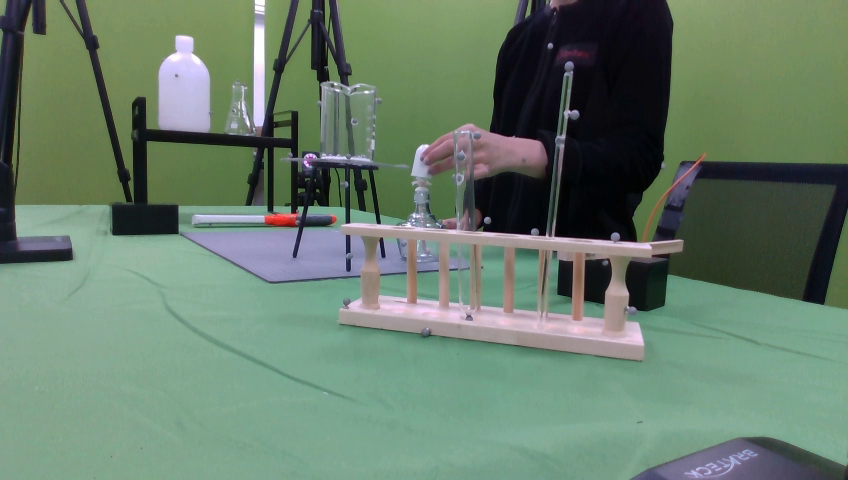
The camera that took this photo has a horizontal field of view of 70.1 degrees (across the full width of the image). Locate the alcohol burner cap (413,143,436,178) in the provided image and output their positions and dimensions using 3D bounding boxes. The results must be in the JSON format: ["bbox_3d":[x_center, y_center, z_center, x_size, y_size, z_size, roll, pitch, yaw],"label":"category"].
[{"bbox_3d":[0.002,-0.109,0.829,0.034,0.048,0.034,4,12,-1],"label":"alcohol burner cap"}]

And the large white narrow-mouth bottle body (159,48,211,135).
[{"bbox_3d":[-0.503,-0.323,1.275,0.102,0.194,0.102,2,7,0],"label":"large white narrow-mouth bottle body"}]

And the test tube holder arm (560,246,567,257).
[{"bbox_3d":[0.173,0.007,0.612,0.088,0.015,0.010,-3,9,-30],"label":"test tube holder arm"}]

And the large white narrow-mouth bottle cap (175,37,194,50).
[{"bbox_3d":[-0.501,-0.410,1.264,0.038,0.024,0.037,2,7,0],"label":"large white narrow-mouth bottle cap"}]

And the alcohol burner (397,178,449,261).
[{"bbox_3d":[-0.002,-0.031,0.846,0.078,0.119,0.078,0,6,0],"label":"alcohol burner"}]

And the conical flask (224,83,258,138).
[{"bbox_3d":[-0.422,-0.299,1.395,0.075,0.122,0.075,2,7,0],"label":"conical flask"}]

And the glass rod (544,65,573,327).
[{"bbox_3d":[0.101,-0.028,0.453,0.008,0.199,0.008,2,13,0],"label":"glass rod"}]

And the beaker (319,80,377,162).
[{"bbox_3d":[-0.098,-0.150,0.777,0.074,0.100,0.084,1,7,-8],"label":"beaker"}]

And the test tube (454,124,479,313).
[{"bbox_3d":[0.034,-0.015,0.477,0.017,0.150,0.017,-2,9,1],"label":"test tube"}]

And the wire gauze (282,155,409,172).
[{"bbox_3d":[-0.104,-0.103,0.785,0.126,0.011,0.121,1,8,-39],"label":"wire gauze"}]

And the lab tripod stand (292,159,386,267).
[{"bbox_3d":[-0.105,-0.039,0.797,0.148,0.131,0.148,2,5,0],"label":"lab tripod stand"}]

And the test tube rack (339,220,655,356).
[{"bbox_3d":[0.056,0.032,0.495,0.242,0.085,0.067,4,7,15],"label":"test tube rack"}]

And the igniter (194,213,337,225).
[{"bbox_3d":[-0.306,-0.042,1.196,0.278,0.025,0.057,-2,-2,-31],"label":"igniter"}]

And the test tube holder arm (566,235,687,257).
[{"bbox_3d":[0.215,0.006,0.630,0.179,0.015,0.013,-3,9,-31],"label":"test tube holder arm"}]
